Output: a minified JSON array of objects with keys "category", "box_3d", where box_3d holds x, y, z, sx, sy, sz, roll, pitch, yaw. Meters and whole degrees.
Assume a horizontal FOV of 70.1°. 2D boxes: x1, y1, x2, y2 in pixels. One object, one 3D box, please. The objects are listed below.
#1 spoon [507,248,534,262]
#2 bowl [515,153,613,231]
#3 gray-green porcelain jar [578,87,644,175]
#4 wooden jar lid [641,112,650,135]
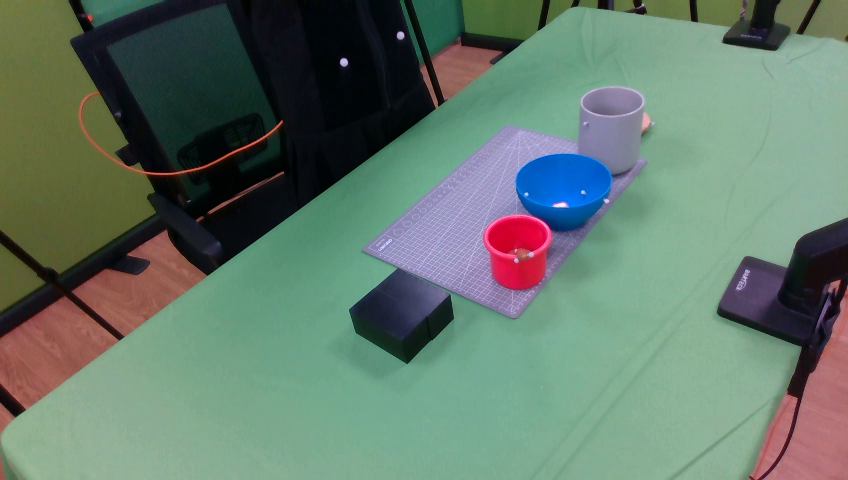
[{"category":"spoon","box_3d":[0.135,0.020,0.835,0.041,0.021,0.194,-2,-4,8]},{"category":"bowl","box_3d":[0.224,-0.068,0.972,0.151,0.077,0.150,-5,40,5]},{"category":"gray-green porcelain jar","box_3d":[0.324,-0.185,1.055,0.106,0.127,0.105,-5,40,5]},{"category":"wooden jar lid","box_3d":[0.382,-0.225,1.178,0.108,0.021,0.108,-5,40,4]}]
